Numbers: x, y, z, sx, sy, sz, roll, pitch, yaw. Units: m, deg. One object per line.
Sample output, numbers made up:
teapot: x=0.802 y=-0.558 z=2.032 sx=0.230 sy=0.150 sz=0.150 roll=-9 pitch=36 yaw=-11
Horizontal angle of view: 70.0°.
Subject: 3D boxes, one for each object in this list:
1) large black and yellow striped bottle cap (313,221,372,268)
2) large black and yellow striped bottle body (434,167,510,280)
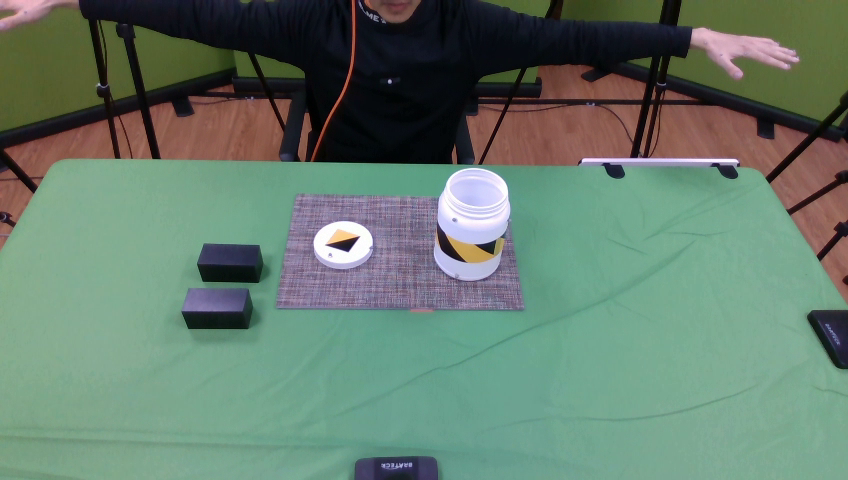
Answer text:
large black and yellow striped bottle cap: x=-0.158 y=0.007 z=1.176 sx=0.115 sy=0.019 sz=0.114 roll=2 pitch=45 yaw=-2
large black and yellow striped bottle body: x=0.087 y=-0.031 z=1.114 sx=0.131 sy=0.185 sz=0.130 roll=2 pitch=46 yaw=-2
